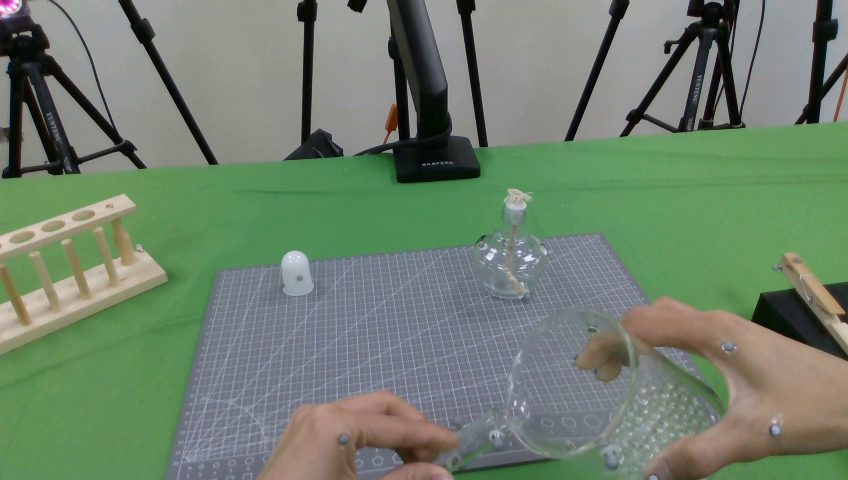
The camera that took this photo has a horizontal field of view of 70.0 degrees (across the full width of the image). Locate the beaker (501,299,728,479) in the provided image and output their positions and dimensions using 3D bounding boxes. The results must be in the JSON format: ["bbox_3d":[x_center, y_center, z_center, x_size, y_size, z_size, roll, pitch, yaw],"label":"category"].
[{"bbox_3d":[0.100,0.087,0.314,0.101,0.084,0.073,31,34,-30],"label":"beaker"}]

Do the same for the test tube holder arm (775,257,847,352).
[{"bbox_3d":[0.344,0.066,0.510,0.015,0.013,0.177,0,34,1],"label":"test tube holder arm"}]

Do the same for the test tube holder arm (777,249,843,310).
[{"bbox_3d":[0.345,0.036,0.544,0.015,0.010,0.087,0,35,1],"label":"test tube holder arm"}]

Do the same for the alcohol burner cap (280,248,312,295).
[{"bbox_3d":[-0.137,0.031,0.638,0.034,0.048,0.033,-1,34,1],"label":"alcohol burner cap"}]

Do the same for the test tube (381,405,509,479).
[{"bbox_3d":[-0.015,0.136,0.334,0.150,0.017,0.017,-40,29,19],"label":"test tube"}]

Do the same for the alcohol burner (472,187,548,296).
[{"bbox_3d":[0.088,-0.002,0.615,0.078,0.120,0.077,1,34,0],"label":"alcohol burner"}]

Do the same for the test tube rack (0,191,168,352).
[{"bbox_3d":[-0.393,0.041,0.597,0.242,0.086,0.066,-28,43,-33],"label":"test tube rack"}]
